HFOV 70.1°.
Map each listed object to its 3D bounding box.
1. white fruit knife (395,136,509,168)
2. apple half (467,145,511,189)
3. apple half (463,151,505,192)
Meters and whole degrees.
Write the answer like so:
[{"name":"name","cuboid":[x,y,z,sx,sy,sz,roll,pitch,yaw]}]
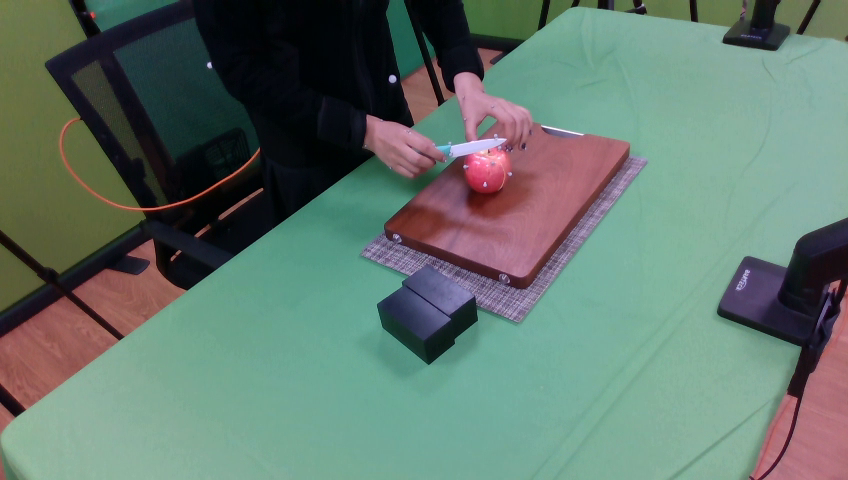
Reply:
[{"name":"white fruit knife","cuboid":[0.041,-0.146,0.983,0.206,0.027,0.016,-8,42,26]},{"name":"apple half","cuboid":[0.115,-0.129,1.029,0.080,0.075,0.053,11,40,30]},{"name":"apple half","cuboid":[0.094,-0.106,1.005,0.081,0.081,0.033,15,43,26]}]
